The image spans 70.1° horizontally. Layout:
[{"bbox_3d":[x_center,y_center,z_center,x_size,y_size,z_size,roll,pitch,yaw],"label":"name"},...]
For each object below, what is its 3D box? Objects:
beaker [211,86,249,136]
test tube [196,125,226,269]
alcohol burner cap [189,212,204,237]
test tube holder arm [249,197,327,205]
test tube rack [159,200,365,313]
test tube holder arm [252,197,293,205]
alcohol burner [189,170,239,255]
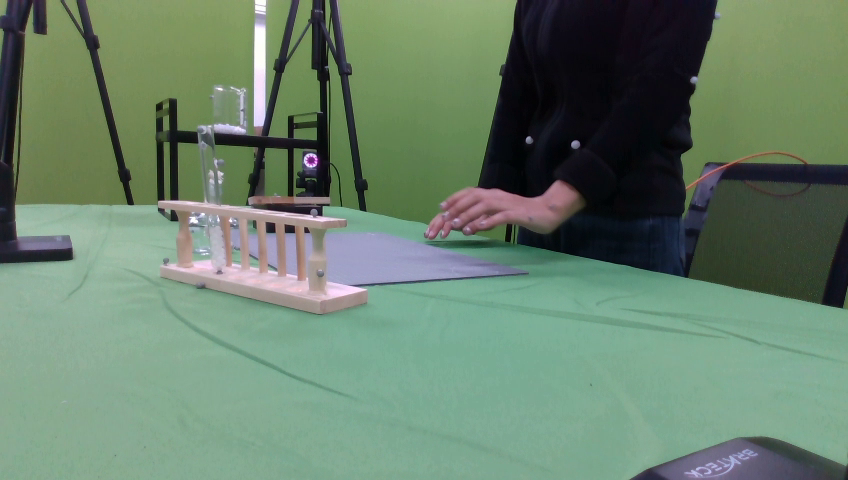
[{"bbox_3d":[-0.413,-0.274,1.297,0.074,0.100,0.083,-5,11,-44],"label":"beaker"},{"bbox_3d":[-0.220,-0.043,0.626,0.017,0.150,0.017,-2,10,1],"label":"test tube"},{"bbox_3d":[-0.389,-0.029,1.026,0.034,0.048,0.034,3,8,0],"label":"alcohol burner cap"},{"bbox_3d":[-0.253,-0.075,1.147,0.013,0.015,0.179,6,7,37],"label":"test tube holder arm"},{"bbox_3d":[-0.173,0.009,0.624,0.241,0.085,0.067,7,9,34],"label":"test tube rack"},{"bbox_3d":[-0.277,-0.072,1.108,0.010,0.015,0.088,7,8,39],"label":"test tube holder arm"},{"bbox_3d":[-0.297,-0.039,0.853,0.078,0.119,0.078,3,6,0],"label":"alcohol burner"}]
